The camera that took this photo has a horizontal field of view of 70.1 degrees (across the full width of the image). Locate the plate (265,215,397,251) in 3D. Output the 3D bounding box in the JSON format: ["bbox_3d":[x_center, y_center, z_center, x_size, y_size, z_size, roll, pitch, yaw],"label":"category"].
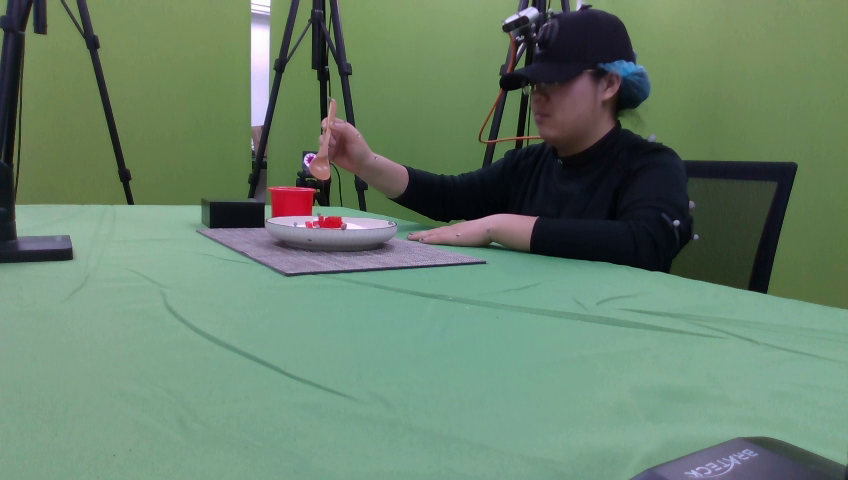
[{"bbox_3d":[-0.147,-0.012,0.963,0.209,0.038,0.209,3,7,0],"label":"plate"}]

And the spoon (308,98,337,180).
[{"bbox_3d":[-0.180,-0.191,1.122,0.042,0.193,0.021,20,-30,-22],"label":"spoon"}]

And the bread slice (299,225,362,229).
[{"bbox_3d":[-0.154,-0.012,0.973,0.132,0.019,0.104,-1,7,-31],"label":"bread slice"}]
